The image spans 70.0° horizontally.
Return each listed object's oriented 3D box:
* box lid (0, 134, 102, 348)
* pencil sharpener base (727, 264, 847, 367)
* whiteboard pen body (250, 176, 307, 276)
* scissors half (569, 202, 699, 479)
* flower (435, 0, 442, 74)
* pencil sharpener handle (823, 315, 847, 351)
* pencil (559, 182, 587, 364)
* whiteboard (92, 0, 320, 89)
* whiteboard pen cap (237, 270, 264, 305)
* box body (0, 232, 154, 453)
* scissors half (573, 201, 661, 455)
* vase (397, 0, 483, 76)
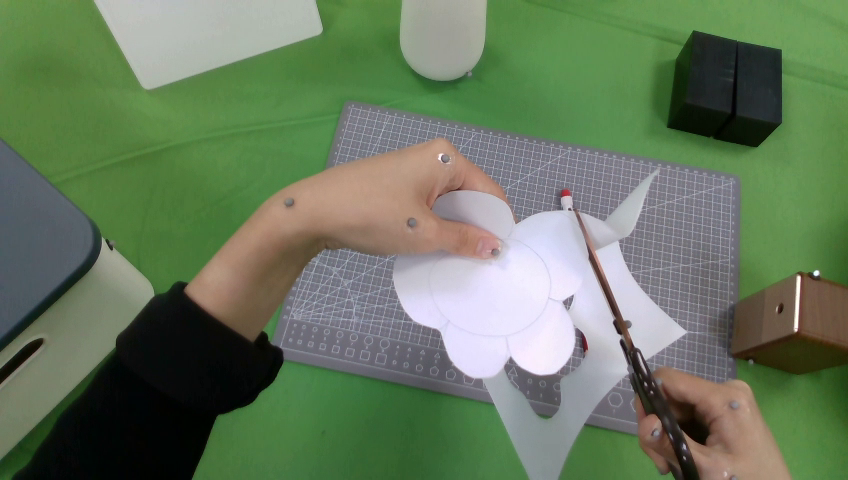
[{"bbox_3d":[-0.459,-0.019,0.458,0.370,0.015,0.263,37,72,11],"label":"box lid"},{"bbox_3d":[0.346,0.074,0.561,0.077,0.107,0.061,16,69,1],"label":"pencil sharpener base"},{"bbox_3d":[-0.152,-0.005,0.621,0.017,0.017,0.140,18,68,5],"label":"whiteboard pen body"},{"bbox_3d":[0.117,0.059,0.342,0.013,0.040,0.175,-23,87,3],"label":"scissors half"},{"bbox_3d":[0.016,-0.307,0.556,0.044,0.365,0.038,5,51,4],"label":"flower"},{"bbox_3d":[0.396,0.085,0.549,0.030,0.068,0.036,16,63,1],"label":"pencil sharpener handle"},{"bbox_3d":[0.154,0.030,0.622,0.012,0.012,0.192,-2,71,-2],"label":"pencil"},{"bbox_3d":[-0.263,-0.354,0.628,0.217,0.308,0.142,-21,52,-9],"label":"whiteboard"},{"bbox_3d":[-0.170,0.047,0.598,0.018,0.018,0.033,17,65,5],"label":"whiteboard pen cap"},{"bbox_3d":[-0.460,0.009,0.527,0.362,0.161,0.253,37,73,11],"label":"box body"},{"bbox_3d":[0.118,0.055,0.363,0.013,0.040,0.176,-22,109,8],"label":"scissors half"},{"bbox_3d":[0.018,-0.264,0.628,0.098,0.201,0.097,0,68,0],"label":"vase"}]
